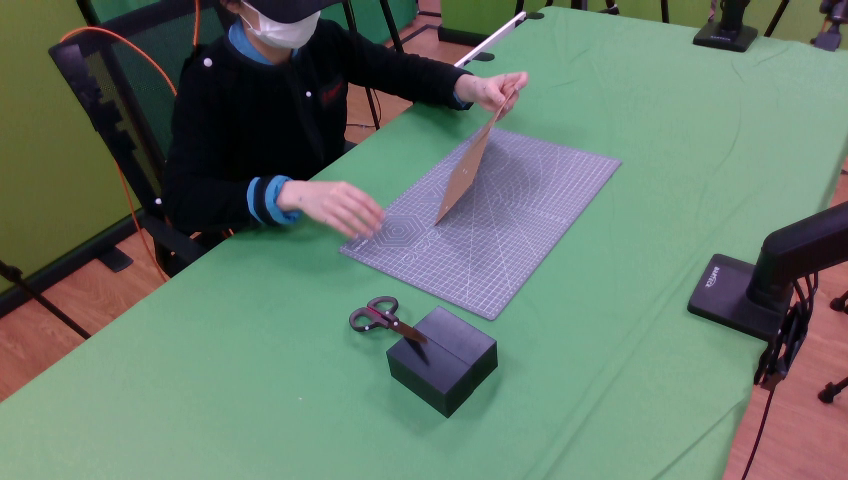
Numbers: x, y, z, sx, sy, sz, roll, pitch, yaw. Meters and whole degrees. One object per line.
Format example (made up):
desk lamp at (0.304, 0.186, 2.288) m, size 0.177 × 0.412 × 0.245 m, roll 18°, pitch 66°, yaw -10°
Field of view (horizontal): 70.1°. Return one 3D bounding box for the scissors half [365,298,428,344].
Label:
scissors half at (-0.035, 0.107, 0.808) m, size 0.040 × 0.013 × 0.174 m, roll -27°, pitch 23°, yaw -17°

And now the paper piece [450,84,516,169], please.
paper piece at (0.106, -0.200, 1.073) m, size 0.008 × 0.135 × 0.138 m, roll 38°, pitch 52°, yaw -6°

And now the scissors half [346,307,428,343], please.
scissors half at (-0.051, 0.115, 0.799) m, size 0.040 × 0.013 × 0.174 m, roll -29°, pitch 23°, yaw -35°

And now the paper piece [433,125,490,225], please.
paper piece at (0.060, -0.106, 0.992) m, size 0.004 × 0.135 × 0.135 m, roll 28°, pitch 53°, yaw -11°
